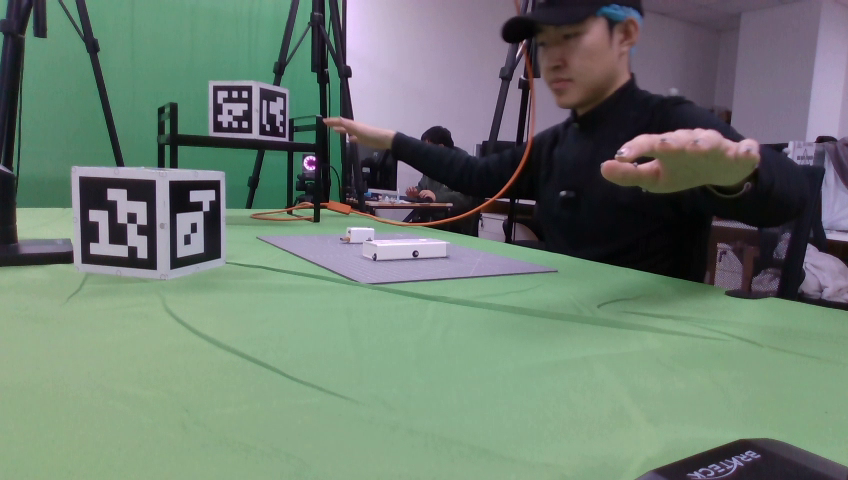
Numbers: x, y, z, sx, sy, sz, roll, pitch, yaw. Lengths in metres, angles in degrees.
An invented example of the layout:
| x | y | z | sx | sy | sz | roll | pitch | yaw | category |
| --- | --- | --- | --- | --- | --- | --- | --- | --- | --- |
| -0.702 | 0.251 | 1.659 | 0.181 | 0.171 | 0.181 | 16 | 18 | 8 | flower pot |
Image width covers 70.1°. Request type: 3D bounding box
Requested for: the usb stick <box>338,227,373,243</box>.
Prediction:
| x | y | z | sx | sy | sz | roll | pitch | yaw | category |
| --- | --- | --- | --- | --- | --- | --- | --- | --- | --- |
| -0.117 | -0.009 | 1.030 | 0.059 | 0.027 | 0.021 | -4 | 10 | -30 | usb stick |

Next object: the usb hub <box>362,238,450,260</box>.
| x | y | z | sx | sy | sz | roll | pitch | yaw | category |
| --- | --- | --- | --- | --- | --- | --- | --- | --- | --- |
| -0.026 | 0.013 | 0.894 | 0.126 | 0.025 | 0.049 | -2 | 7 | -31 | usb hub |
